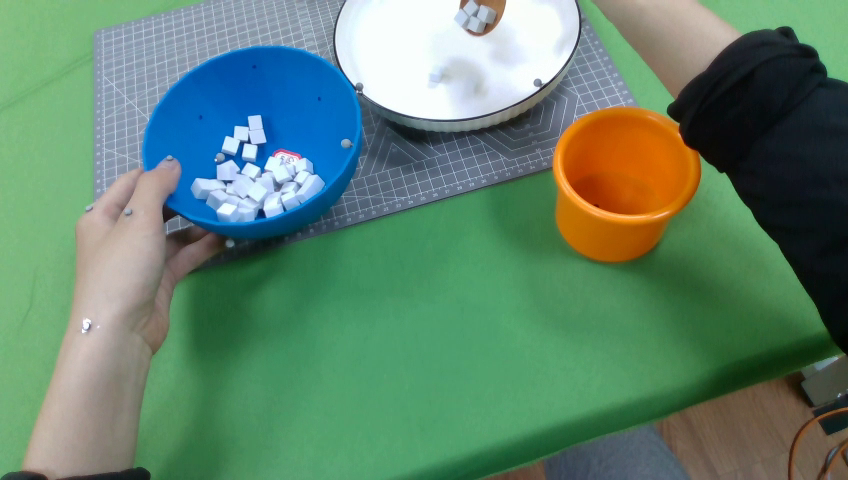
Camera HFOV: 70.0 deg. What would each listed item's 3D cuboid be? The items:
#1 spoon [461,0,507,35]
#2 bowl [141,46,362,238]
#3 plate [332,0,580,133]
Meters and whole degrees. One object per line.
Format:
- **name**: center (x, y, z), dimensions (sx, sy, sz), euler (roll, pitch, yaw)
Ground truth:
- **spoon**: center (0.061, -0.225, 0.425), dimensions (0.021, 0.195, 0.041), euler (-38, 74, -25)
- **bowl**: center (-0.114, -0.058, 0.445), dimensions (0.151, 0.077, 0.150), euler (-2, 64, 4)
- **plate**: center (0.026, -0.173, 0.523), dimensions (0.209, 0.038, 0.207), euler (-2, 62, 5)
